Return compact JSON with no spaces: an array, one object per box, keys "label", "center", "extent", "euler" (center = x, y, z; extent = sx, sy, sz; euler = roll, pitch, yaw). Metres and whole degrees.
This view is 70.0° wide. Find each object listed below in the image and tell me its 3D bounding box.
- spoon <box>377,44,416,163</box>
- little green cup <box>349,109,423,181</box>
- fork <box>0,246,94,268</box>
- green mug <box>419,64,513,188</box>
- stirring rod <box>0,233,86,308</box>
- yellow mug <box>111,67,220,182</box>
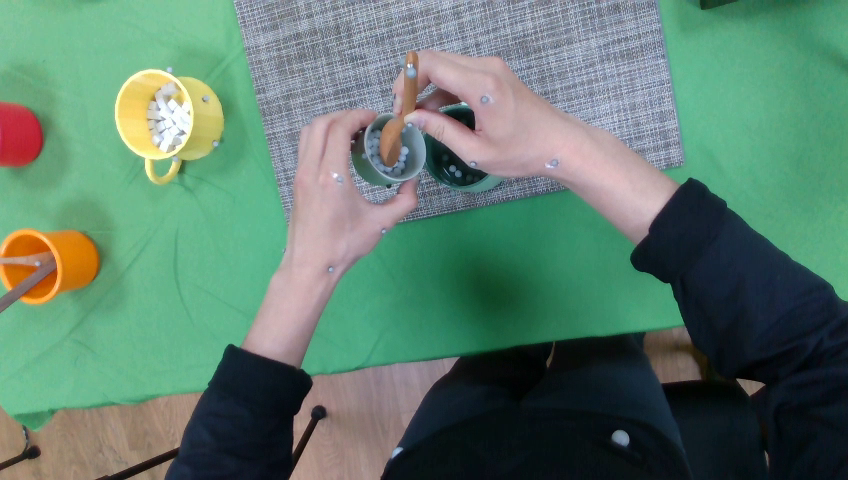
[{"label":"spoon","center":[-0.019,-0.100,0.455],"extent":[0.022,0.194,0.041],"euler":[17,79,-7]},{"label":"little green cup","center":[-0.036,-0.082,0.540],"extent":[0.038,0.062,0.061],"euler":[-15,96,57]},{"label":"fork","center":[-0.517,0.021,0.731],"extent":[0.208,0.018,0.028],"euler":[0,98,-32]},{"label":"green mug","center":[0.043,-0.115,0.617],"extent":[0.092,0.105,0.125],"euler":[6,99,11]},{"label":"stirring rod","center":[-0.488,0.052,0.735],"extent":[0.014,0.006,0.175],"euler":[39,61,2]},{"label":"yellow mug","center":[-0.303,-0.132,0.709],"extent":[0.100,0.064,0.131],"euler":[15,102,8]}]
